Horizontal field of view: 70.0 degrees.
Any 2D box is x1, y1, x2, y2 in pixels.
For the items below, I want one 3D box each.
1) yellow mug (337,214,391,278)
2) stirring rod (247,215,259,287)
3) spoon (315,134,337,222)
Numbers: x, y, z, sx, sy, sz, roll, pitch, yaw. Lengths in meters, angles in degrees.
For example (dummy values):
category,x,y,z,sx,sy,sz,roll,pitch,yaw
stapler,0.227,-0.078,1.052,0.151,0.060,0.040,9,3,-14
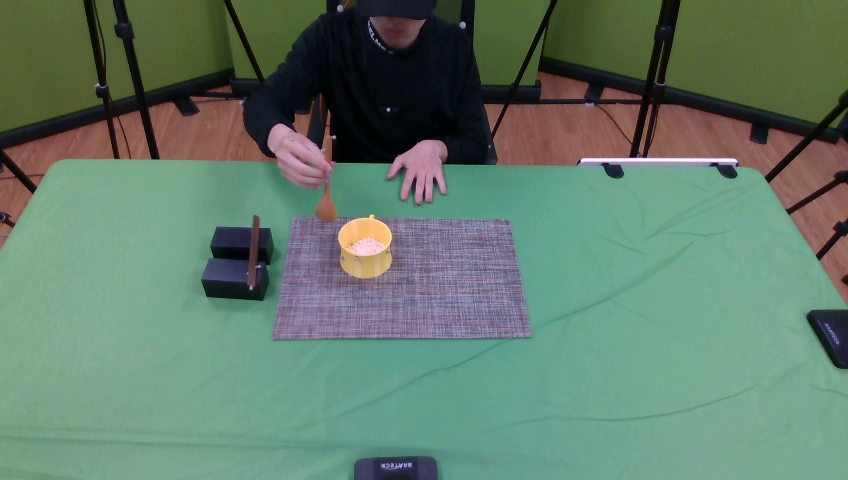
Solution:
category,x,y,z,sx,sy,sz,roll,pitch,yaw
yellow mug,-0.110,0.003,1.152,0.100,0.064,0.130,7,45,2
stirring rod,-0.309,0.016,1.097,0.014,0.006,0.175,24,36,-31
spoon,-0.169,-0.103,1.054,0.041,0.194,0.021,10,40,1
